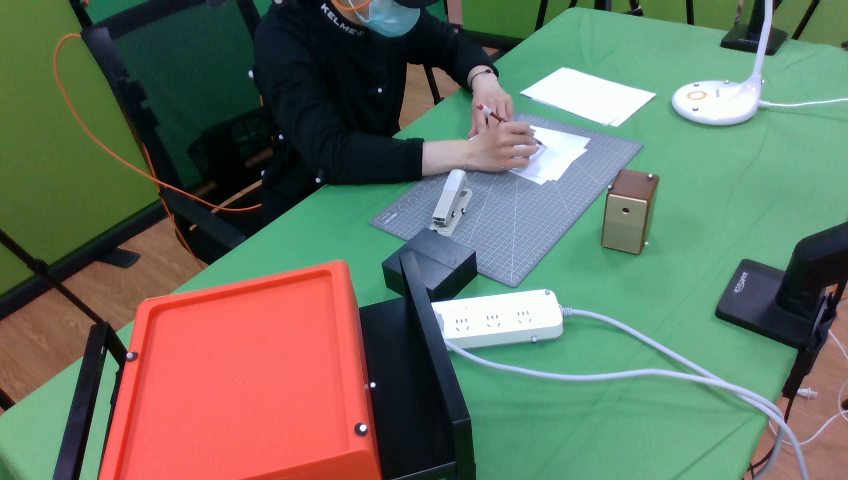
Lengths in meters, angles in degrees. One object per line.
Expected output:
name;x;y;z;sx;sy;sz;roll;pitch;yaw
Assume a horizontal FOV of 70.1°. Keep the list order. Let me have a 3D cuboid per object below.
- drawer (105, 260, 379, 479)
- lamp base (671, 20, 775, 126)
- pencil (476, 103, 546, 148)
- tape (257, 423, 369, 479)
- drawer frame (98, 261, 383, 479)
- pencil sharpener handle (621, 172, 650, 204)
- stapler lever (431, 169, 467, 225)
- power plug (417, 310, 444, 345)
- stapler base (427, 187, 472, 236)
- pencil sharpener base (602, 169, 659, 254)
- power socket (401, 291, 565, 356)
drawer;-0.150;0.127;0.525;0.195;0.073;0.210;-11;41;-5
lamp base;0.581;-0.332;1.154;0.179;0.181;0.160;2;41;7
pencil;0.162;-0.205;1.095;0.196;0.012;0.012;21;22;-39
tape;-0.120;0.262;0.660;0.117;0.053;0.116;-4;40;4
drawer frame;-0.148;0.129;0.520;0.202;0.083;0.212;-12;41;-6
pencil sharpener handle;0.328;-0.086;0.941;0.036;0.068;0.030;30;49;7
stapler lever;0.043;-0.074;1.010;0.026;0.040;0.118;9;44;20
power plug;0.006;0.122;0.785;0.035;0.053;0.072;0;40;9
stapler base;0.046;-0.057;1.028;0.041;0.024;0.130;10;44;20
pencil sharpener base;0.312;-0.044;0.914;0.061;0.107;0.077;14;45;24
power socket;0.081;0.113;0.822;0.227;0.033;0.072;-6;41;0
